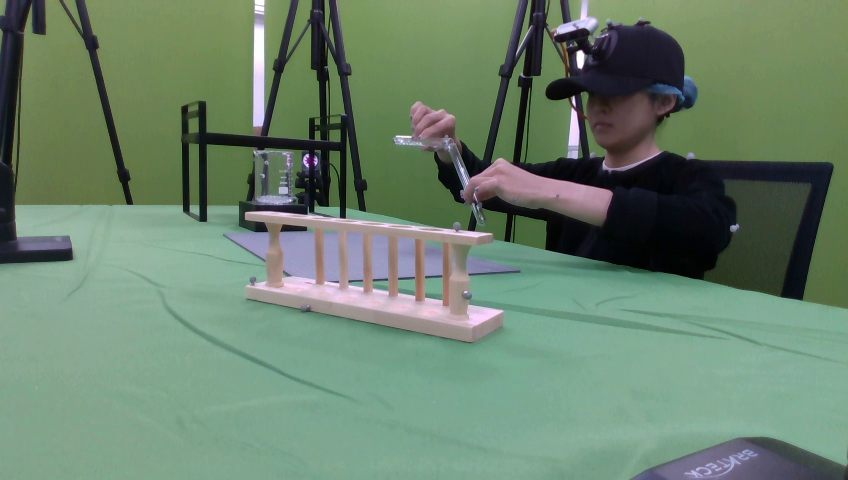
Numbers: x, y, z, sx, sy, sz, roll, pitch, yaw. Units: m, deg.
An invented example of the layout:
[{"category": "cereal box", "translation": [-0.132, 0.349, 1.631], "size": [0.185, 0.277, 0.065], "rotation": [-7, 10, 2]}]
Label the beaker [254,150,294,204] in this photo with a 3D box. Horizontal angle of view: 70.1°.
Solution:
[{"category": "beaker", "translation": [-0.289, -0.120, 1.151], "size": [0.073, 0.100, 0.084], "rotation": [8, 9, 33]}]

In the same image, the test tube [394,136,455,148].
[{"category": "test tube", "translation": [-0.003, -0.166, 1.023], "size": [0.017, 0.017, 0.149], "rotation": [-4, 12, -40]}]

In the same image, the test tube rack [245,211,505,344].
[{"category": "test tube rack", "translation": [-0.049, 0.024, 0.547], "size": [0.241, 0.085, 0.067], "rotation": [7, 8, 29]}]

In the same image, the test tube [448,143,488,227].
[{"category": "test tube", "translation": [0.068, -0.087, 0.941], "size": [0.017, 0.150, 0.017], "rotation": [-17, -21, -6]}]
